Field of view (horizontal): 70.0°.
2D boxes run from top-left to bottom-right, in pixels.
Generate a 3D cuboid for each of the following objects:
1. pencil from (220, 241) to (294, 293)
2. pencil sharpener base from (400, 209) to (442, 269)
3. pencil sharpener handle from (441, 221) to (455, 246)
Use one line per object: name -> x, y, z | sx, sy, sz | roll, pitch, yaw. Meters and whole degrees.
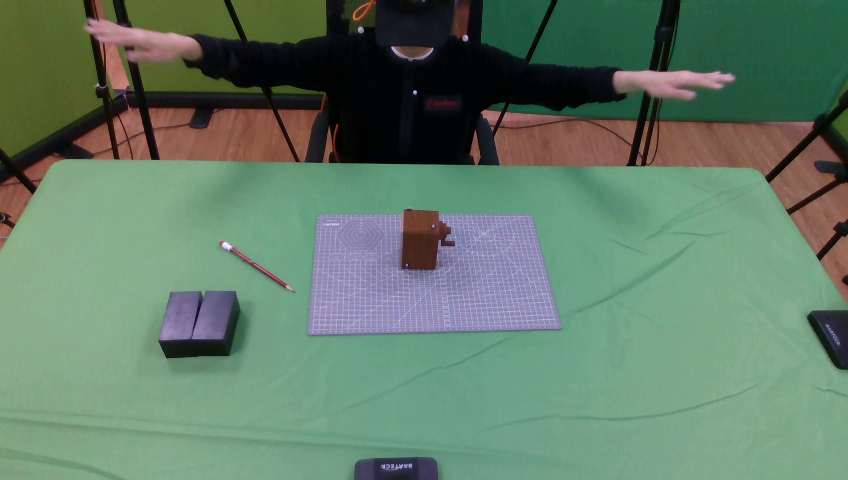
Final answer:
pencil -> -0.314, 0.049, 1.137 | 0.193, 0.012, 0.012 | 31, 51, 22
pencil sharpener base -> -0.006, 0.000, 1.134 | 0.077, 0.107, 0.061 | 2, 46, -2
pencil sharpener handle -> 0.046, -0.009, 1.129 | 0.030, 0.068, 0.036 | 2, 56, -2
